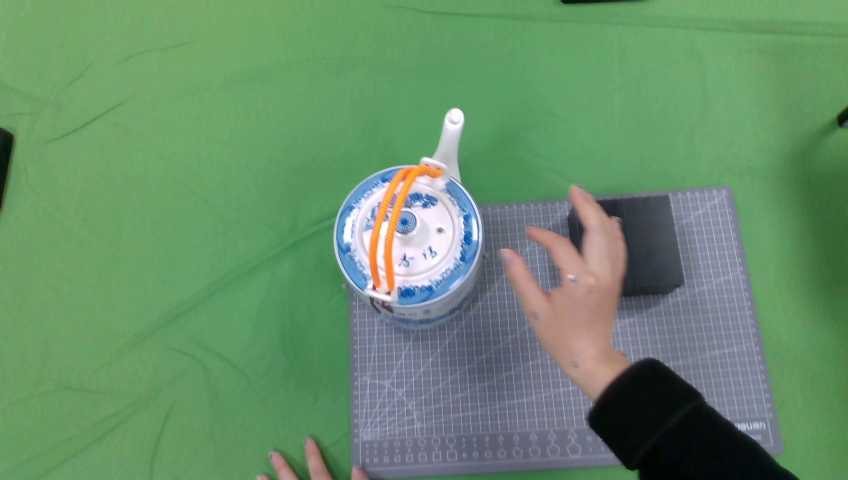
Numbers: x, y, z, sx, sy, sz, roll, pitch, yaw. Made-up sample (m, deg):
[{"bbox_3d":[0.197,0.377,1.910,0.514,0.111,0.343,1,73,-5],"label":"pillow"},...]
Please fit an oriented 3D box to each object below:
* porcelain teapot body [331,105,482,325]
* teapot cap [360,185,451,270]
[{"bbox_3d":[-0.006,-0.028,0.600,0.145,0.226,0.204,18,76,9],"label":"porcelain teapot body"},{"bbox_3d":[-0.018,-0.014,0.555,0.085,0.044,0.084,-2,71,6],"label":"teapot cap"}]
